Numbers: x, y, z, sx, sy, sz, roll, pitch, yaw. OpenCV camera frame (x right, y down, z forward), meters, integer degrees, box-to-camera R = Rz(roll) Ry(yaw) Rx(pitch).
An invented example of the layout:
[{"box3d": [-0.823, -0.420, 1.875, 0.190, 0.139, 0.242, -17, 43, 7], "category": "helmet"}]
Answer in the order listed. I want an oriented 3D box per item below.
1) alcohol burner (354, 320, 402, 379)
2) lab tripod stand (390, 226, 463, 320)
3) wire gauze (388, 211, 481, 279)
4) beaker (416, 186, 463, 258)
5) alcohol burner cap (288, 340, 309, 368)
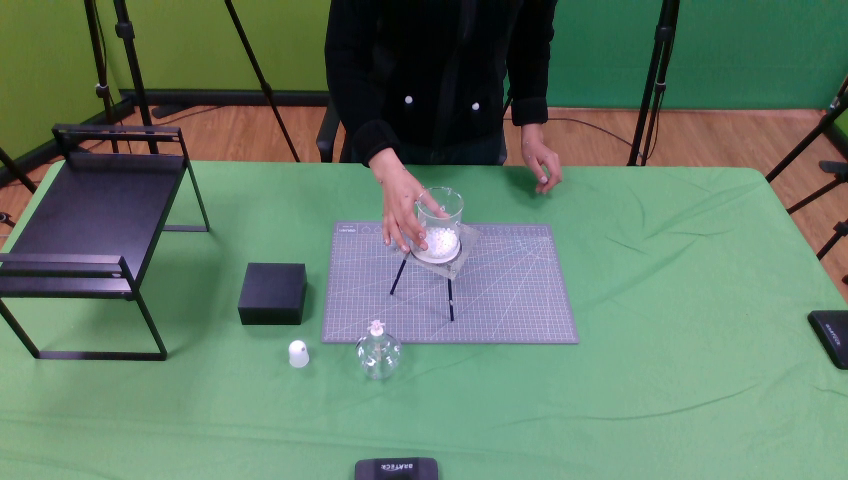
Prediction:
[{"box3d": [-0.074, 0.169, 0.964, 0.078, 0.120, 0.077, 1, 46, -1], "category": "alcohol burner"}, {"box3d": [0.014, 0.053, 1.063, 0.148, 0.132, 0.147, 1, 48, -1], "category": "lab tripod stand"}, {"box3d": [0.019, 0.003, 1.020, 0.125, 0.011, 0.121, 20, 47, 18], "category": "wire gauze"}, {"box3d": [0.024, -0.028, 0.984, 0.074, 0.101, 0.083, 19, 48, 14], "category": "beaker"}, {"box3d": [-0.207, 0.183, 0.991, 0.034, 0.048, 0.033, 3, 47, -3], "category": "alcohol burner cap"}]
